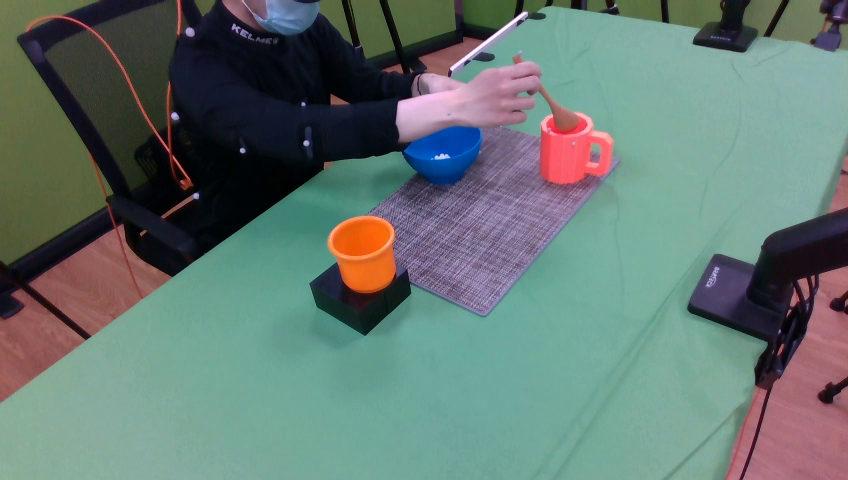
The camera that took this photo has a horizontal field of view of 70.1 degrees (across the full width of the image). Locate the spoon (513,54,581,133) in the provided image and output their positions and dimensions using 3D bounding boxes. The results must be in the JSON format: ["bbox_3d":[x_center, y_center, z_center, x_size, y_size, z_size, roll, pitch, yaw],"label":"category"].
[{"bbox_3d":[0.194,-0.230,0.963,0.041,0.195,0.021,-33,41,24],"label":"spoon"}]

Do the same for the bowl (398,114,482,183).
[{"bbox_3d":[0.032,-0.156,1.097,0.151,0.077,0.150,-4,41,4],"label":"bowl"}]

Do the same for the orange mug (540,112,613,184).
[{"bbox_3d":[0.263,-0.159,1.052,0.125,0.101,0.083,12,44,29],"label":"orange mug"}]
